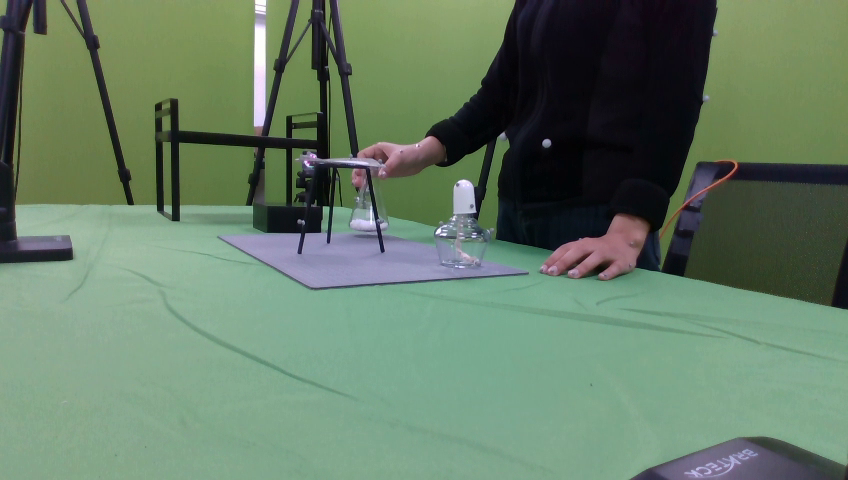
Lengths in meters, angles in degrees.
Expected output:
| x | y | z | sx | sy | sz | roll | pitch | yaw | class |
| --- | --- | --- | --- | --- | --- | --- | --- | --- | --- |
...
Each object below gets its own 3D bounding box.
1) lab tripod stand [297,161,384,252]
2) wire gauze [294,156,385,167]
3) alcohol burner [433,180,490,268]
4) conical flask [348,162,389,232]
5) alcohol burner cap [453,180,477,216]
| x | y | z | sx | sy | sz | roll | pitch | yaw | class |
| --- | --- | --- | --- | --- | --- | --- | --- | --- | --- |
| -0.130 | -0.051 | 0.903 | 0.148 | 0.131 | 0.148 | 3 | 9 | 0 | lab tripod stand |
| -0.128 | -0.118 | 0.901 | 0.125 | 0.011 | 0.121 | 0 | 8 | -14 | wire gauze |
| 0.052 | -0.021 | 0.816 | 0.078 | 0.119 | 0.078 | 4 | 7 | 0 | alcohol burner |
| -0.098 | -0.078 | 1.086 | 0.075 | 0.122 | 0.075 | 2 | 7 | 0 | conical flask |
| 0.054 | -0.057 | 0.811 | 0.034 | 0.048 | 0.034 | -3 | 6 | 1 | alcohol burner cap |
